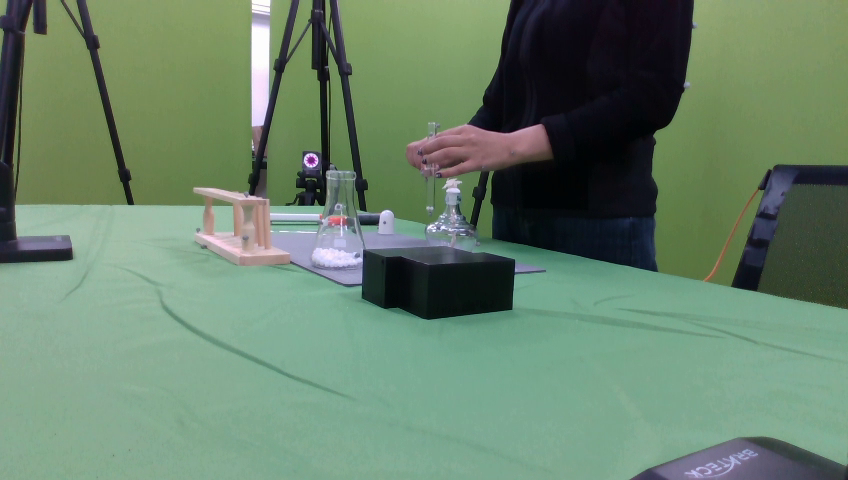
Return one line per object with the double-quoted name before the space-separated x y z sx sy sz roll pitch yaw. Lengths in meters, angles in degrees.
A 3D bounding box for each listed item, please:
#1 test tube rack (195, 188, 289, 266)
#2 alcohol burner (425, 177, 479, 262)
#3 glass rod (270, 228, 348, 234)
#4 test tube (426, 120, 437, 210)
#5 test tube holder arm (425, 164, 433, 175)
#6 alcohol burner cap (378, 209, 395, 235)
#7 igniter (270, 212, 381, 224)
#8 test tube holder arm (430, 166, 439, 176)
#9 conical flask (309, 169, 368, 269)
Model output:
"test tube rack" -0.266 -0.025 0.864 0.067 0.085 0.241 -2 8 -33
"alcohol burner" 0.040 -0.029 0.853 0.078 0.119 0.078 2 10 0
"glass rod" -0.235 -0.016 1.105 0.201 0.008 0.008 2 6 -26
"test tube" 0.012 -0.124 1.011 0.017 0.150 0.017 1 8 0
"test tube holder arm" 0.009 -0.127 1.080 0.013 0.015 0.178 6 9 0
"alcohol burner cap" -0.070 -0.035 1.144 0.034 0.048 0.034 2 8 0
"igniter" -0.213 -0.048 1.278 0.278 0.025 0.057 -1 -2 -25
"test tube holder arm" 0.016 -0.119 1.036 0.010 0.015 0.087 4 9 -7
"conical flask" -0.107 -0.028 0.762 0.075 0.122 0.075 2 7 0
